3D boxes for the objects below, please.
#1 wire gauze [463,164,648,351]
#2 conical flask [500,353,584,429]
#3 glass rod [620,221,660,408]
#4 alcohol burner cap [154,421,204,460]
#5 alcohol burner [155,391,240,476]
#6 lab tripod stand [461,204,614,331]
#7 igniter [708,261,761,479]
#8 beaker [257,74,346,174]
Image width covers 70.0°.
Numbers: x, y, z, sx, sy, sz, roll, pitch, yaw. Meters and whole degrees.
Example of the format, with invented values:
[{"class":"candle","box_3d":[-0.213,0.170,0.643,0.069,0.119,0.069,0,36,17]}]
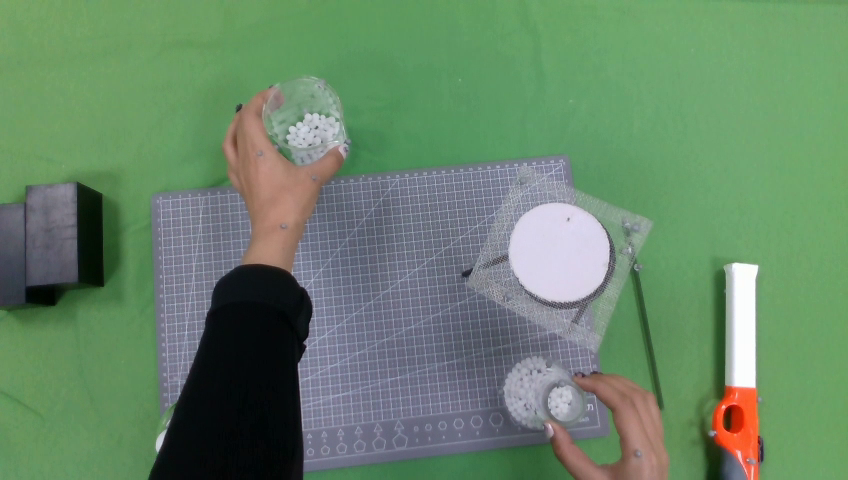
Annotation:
[{"class":"wire gauze","box_3d":[0.112,0.012,0.513,0.125,0.011,0.121,26,83,3]},{"class":"conical flask","box_3d":[0.115,0.145,0.567,0.075,0.122,0.075,0,81,-1]},{"class":"glass rod","box_3d":[0.228,0.077,0.642,0.008,0.008,0.199,-7,82,-3]},{"class":"alcohol burner cap","box_3d":[-0.212,0.172,0.519,0.034,0.048,0.033,1,75,-3]},{"class":"alcohol burner","box_3d":[-0.213,0.180,0.555,0.078,0.119,0.077,0,82,-1]},{"class":"lab tripod stand","box_3d":[0.113,0.025,0.579,0.148,0.132,0.148,0,83,0]},{"class":"igniter","box_3d":[0.319,0.160,0.623,0.057,0.025,0.275,7,81,-11]},{"class":"beaker","box_3d":[-0.116,-0.110,0.611,0.084,0.100,0.074,30,81,2]}]
